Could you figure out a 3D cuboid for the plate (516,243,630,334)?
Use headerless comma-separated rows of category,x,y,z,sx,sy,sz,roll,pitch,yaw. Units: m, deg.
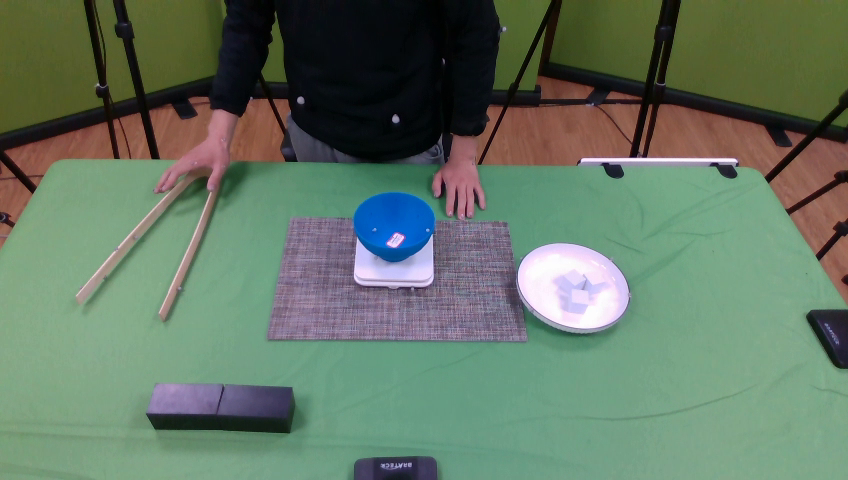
plate,0.272,0.092,1.120,0.208,0.039,0.206,2,46,-2

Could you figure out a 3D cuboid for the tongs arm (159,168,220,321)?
tongs arm,-0.446,-0.006,1.164,0.028,0.028,0.385,1,46,0

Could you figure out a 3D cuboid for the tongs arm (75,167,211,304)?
tongs arm,-0.526,-0.021,1.167,0.051,0.026,0.383,13,46,7

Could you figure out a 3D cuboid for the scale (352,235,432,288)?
scale,-0.060,0.010,1.171,0.149,0.032,0.199,2,46,-3

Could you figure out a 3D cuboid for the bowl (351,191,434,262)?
bowl,-0.058,-0.013,1.119,0.151,0.077,0.150,1,46,-1
